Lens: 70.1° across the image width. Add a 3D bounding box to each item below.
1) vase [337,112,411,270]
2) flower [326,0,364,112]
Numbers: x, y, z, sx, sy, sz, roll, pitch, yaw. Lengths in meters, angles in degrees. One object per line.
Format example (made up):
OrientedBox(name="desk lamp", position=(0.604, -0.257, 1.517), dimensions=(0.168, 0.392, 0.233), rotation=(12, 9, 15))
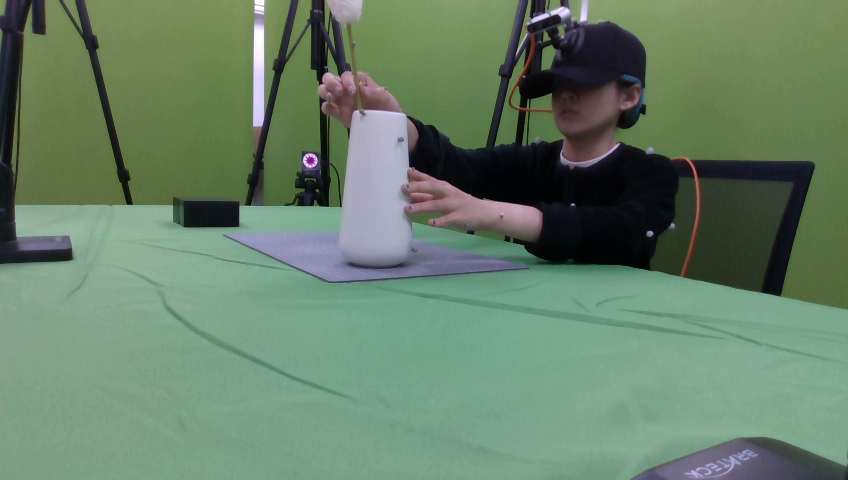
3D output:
OrientedBox(name="vase", position=(-0.064, -0.064, 0.790), dimensions=(0.098, 0.200, 0.098), rotation=(2, 7, 0))
OrientedBox(name="flower", position=(-0.079, -0.148, 0.778), dimensions=(0.044, 0.362, 0.038), rotation=(1, 20, 22))
